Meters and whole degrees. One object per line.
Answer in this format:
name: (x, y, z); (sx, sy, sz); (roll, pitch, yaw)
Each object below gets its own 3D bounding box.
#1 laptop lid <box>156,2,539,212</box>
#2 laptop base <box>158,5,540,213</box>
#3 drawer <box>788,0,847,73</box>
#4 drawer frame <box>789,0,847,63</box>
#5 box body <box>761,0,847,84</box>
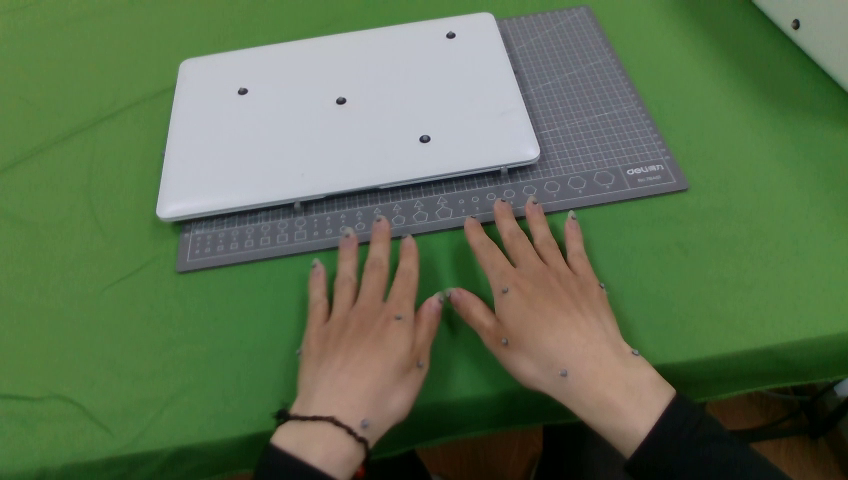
laptop lid: (-0.082, -0.145, 0.606); (0.357, 0.013, 0.239); (-8, 55, 0)
laptop base: (-0.081, -0.140, 0.617); (0.354, 0.023, 0.233); (-9, 56, -1)
drawer: (0.487, -0.240, 0.586); (0.194, 0.074, 0.209); (-11, 54, 1)
drawer frame: (0.488, -0.243, 0.584); (0.202, 0.083, 0.211); (-9, 52, -2)
box body: (0.487, -0.292, 0.581); (0.254, 0.162, 0.360); (-13, 53, -4)
